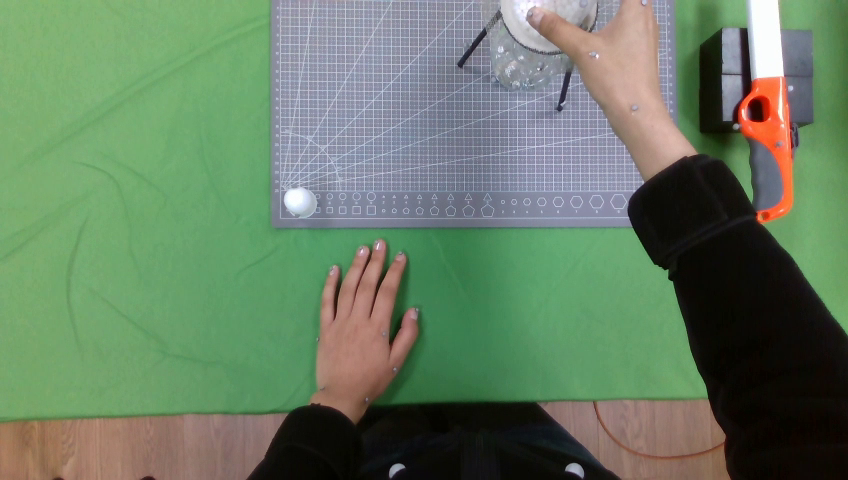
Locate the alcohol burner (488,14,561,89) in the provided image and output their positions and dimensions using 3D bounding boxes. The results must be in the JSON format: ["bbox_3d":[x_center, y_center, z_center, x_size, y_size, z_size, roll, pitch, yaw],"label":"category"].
[{"bbox_3d":[0.106,-0.197,0.618,0.078,0.119,0.078,0,89,-2],"label":"alcohol burner"}]

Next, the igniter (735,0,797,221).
[{"bbox_3d":[0.353,-0.158,0.629,0.057,0.025,0.276,-2,87,8],"label":"igniter"}]

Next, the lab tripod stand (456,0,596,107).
[{"bbox_3d":[0.109,-0.213,0.609,0.148,0.131,0.148,0,86,-2],"label":"lab tripod stand"}]

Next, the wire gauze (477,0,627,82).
[{"bbox_3d":[0.111,-0.210,0.543,0.125,0.011,0.121,-13,88,-5],"label":"wire gauze"}]

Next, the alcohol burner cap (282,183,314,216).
[{"bbox_3d":[-0.134,-0.044,0.637,0.034,0.048,0.034,0,88,-3],"label":"alcohol burner cap"}]

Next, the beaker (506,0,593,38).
[{"bbox_3d":[0.108,-0.216,0.495,0.084,0.100,0.074,-2,85,-4],"label":"beaker"}]
